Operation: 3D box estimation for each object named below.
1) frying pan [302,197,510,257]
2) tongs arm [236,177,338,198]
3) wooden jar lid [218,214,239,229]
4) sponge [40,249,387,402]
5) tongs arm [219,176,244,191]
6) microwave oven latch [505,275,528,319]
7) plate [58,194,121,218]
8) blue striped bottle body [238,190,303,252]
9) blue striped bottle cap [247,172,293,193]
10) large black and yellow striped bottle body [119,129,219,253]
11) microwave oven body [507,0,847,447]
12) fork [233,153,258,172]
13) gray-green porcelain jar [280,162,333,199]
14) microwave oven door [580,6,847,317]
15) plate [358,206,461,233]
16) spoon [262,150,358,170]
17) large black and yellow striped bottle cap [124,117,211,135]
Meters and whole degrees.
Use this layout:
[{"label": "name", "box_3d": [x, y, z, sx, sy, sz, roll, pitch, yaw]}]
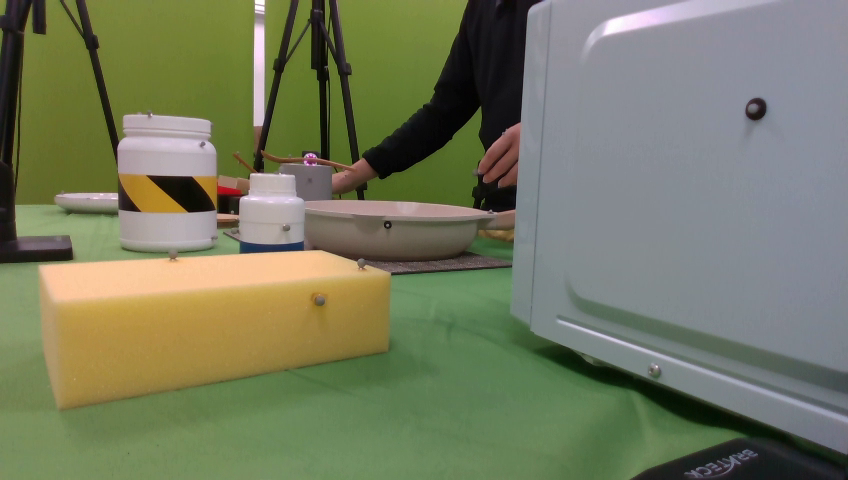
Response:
[{"label": "frying pan", "box_3d": [0.051, -0.035, 0.915, 0.487, 0.102, 0.307, -5, 7, 11]}, {"label": "tongs arm", "box_3d": [-0.244, -0.095, 1.376, 0.387, 0.026, 0.050, 9, 0, -37]}, {"label": "wooden jar lid", "box_3d": [-0.404, -0.037, 1.169, 0.108, 0.020, 0.108, 3, 7, 0]}, {"label": "sponge", "box_3d": [-0.142, 0.047, 0.420, 0.208, 0.061, 0.117, -3, 8, -36]}, {"label": "tongs arm", "box_3d": [-0.286, -0.104, 1.444, 0.389, 0.027, 0.028, 10, -4, -24]}, {"label": "microwave oven latch", "box_3d": [0.100, 0.041, 0.471, 0.079, 0.029, 0.030, -1, 7, -28]}, {"label": "plate", "box_3d": [-0.671, -0.074, 1.310, 0.209, 0.038, 0.209, 2, 8, 0]}, {"label": "blue striped bottle body", "box_3d": [-0.153, -0.007, 0.606, 0.063, 0.120, 0.063, 2, 7, 0]}, {"label": "blue striped bottle cap", "box_3d": [-0.152, -0.057, 0.598, 0.044, 0.020, 0.044, 3, 6, 0]}, {"label": "large black and yellow striped bottle body", "box_3d": [-0.367, -0.080, 0.876, 0.131, 0.184, 0.130, 2, 7, 0]}, {"label": "microwave oven body", "box_3d": [0.331, -0.042, 0.425, 0.444, 0.260, 0.324, -2, 8, -31]}, {"label": "fork", "box_3d": [-0.396, -0.143, 1.486, 0.028, 0.018, 0.208, 21, -25, 45]}, {"label": "gray-green porcelain jar", "box_3d": [-0.238, -0.092, 1.221, 0.106, 0.126, 0.106, 2, 7, 0]}, {"label": "microwave oven door", "box_3d": [0.295, -0.067, 0.570, 0.358, 0.243, 0.039, -3, 9, -31]}, {"label": "plate", "box_3d": [-0.030, -0.041, 1.213, 0.208, 0.039, 0.207, 3, 7, 0]}, {"label": "spoon", "box_3d": [-0.229, -0.162, 1.222, 0.194, 0.021, 0.041, 4, 5, -16]}, {"label": "large black and yellow striped bottle cap", "box_3d": [-0.366, -0.163, 0.866, 0.115, 0.019, 0.115, 3, 7, 0]}]
